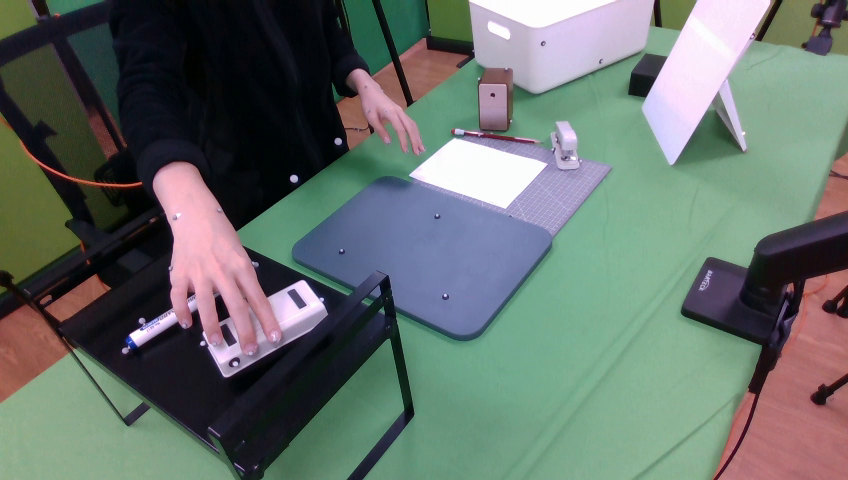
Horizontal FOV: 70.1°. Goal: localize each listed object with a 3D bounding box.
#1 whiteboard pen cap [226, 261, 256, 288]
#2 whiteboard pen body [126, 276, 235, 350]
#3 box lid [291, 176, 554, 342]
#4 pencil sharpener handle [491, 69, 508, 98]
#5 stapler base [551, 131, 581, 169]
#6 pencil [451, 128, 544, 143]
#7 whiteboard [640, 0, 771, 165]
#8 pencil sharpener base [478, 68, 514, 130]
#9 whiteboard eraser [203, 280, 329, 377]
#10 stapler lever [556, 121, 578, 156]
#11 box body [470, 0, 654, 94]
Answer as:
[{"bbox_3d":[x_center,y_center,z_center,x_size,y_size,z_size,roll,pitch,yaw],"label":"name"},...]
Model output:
[{"bbox_3d":[-0.207,0.039,0.677,0.033,0.018,0.018,-37,48,-19],"label":"whiteboard pen cap"},{"bbox_3d":[-0.251,0.070,0.649,0.141,0.017,0.017,-36,48,-25],"label":"whiteboard pen body"},{"bbox_3d":[-0.005,0.011,0.972,0.368,0.015,0.264,21,49,30],"label":"box lid"},{"bbox_3d":[0.155,-0.329,1.254,0.036,0.068,0.030,17,43,4],"label":"pencil sharpener handle"},{"bbox_3d":[0.268,-0.178,1.142,0.041,0.024,0.130,0,37,3],"label":"stapler base"},{"bbox_3d":[0.145,-0.207,1.204,0.193,0.012,0.012,11,44,20],"label":"pencil"},{"bbox_3d":[0.544,-0.299,1.076,0.144,0.305,0.216,12,40,-7],"label":"whiteboard"},{"bbox_3d":[0.148,-0.286,1.225,0.061,0.107,0.076,5,41,15],"label":"pencil sharpener base"},{"bbox_3d":[-0.155,0.088,0.600,0.113,0.042,0.055,-28,48,-22],"label":"whiteboard eraser"},{"bbox_3d":[0.266,-0.198,1.128,0.027,0.040,0.117,0,38,3],"label":"stapler lever"},{"bbox_3d":[0.319,-0.498,1.405,0.365,0.161,0.252,-26,43,-21],"label":"box body"}]
